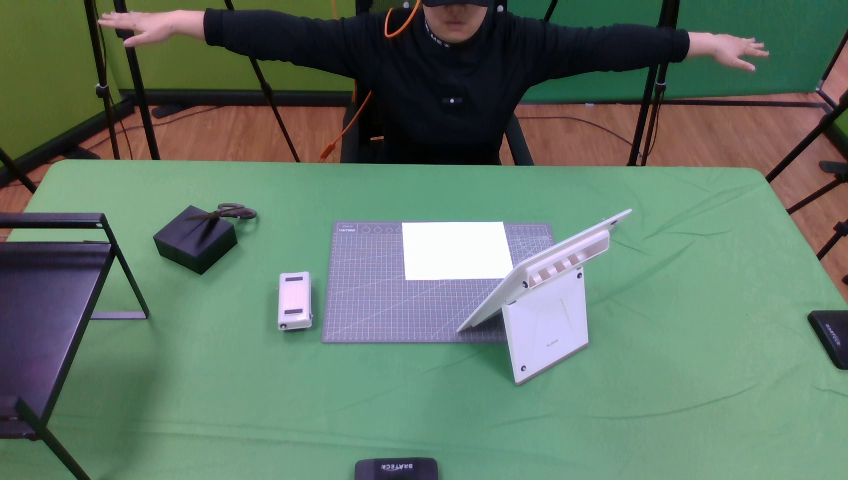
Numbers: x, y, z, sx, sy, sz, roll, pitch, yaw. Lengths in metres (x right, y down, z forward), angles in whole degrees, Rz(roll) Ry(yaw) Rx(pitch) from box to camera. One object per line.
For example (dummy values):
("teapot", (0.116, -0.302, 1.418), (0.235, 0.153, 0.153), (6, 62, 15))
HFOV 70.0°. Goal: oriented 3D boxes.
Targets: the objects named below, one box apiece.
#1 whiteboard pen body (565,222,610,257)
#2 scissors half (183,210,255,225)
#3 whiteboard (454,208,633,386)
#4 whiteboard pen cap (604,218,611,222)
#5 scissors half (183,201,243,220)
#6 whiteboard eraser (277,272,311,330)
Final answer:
("whiteboard pen body", (0.334, -0.004, 1.228), (0.141, 0.017, 0.017), (-32, 56, -29))
("scissors half", (-0.389, -0.042, 1.158), (0.040, 0.013, 0.175), (41, 21, 22))
("whiteboard", (0.211, 0.111, 0.954), (0.217, 0.306, 0.143), (-22, 72, -24))
("whiteboard pen cap", (0.378, -0.031, 1.255), (0.033, 0.018, 0.018), (-33, 57, -29))
("scissors half", (-0.405, -0.054, 1.163), (0.040, 0.013, 0.175), (29, 18, 7))
("whiteboard eraser", (-0.228, 0.108, 1.062), (0.056, 0.042, 0.112), (-3, 46, -9))
